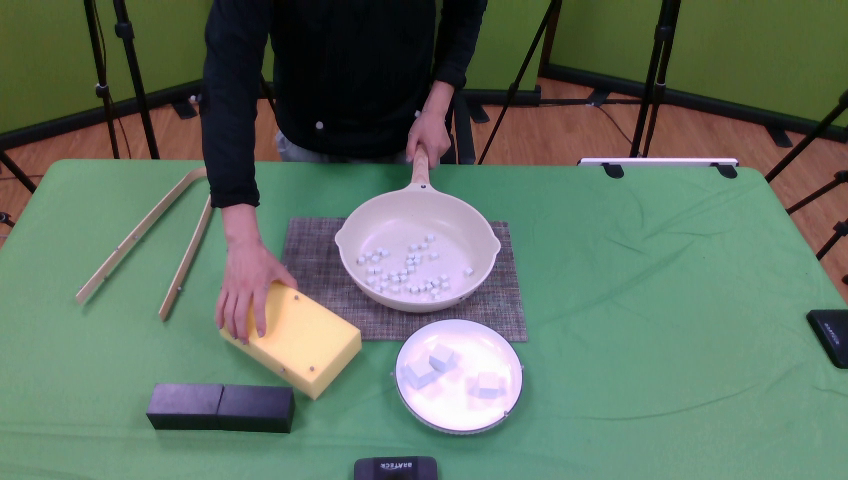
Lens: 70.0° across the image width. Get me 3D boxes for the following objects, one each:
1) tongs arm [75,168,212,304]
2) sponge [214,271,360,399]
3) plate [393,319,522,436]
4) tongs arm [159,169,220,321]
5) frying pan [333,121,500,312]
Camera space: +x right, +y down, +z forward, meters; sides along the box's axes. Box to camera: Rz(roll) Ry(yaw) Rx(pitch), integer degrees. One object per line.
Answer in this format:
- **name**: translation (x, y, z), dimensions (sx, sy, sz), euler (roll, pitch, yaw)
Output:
- **tongs arm**: translation (-0.526, -0.021, 1.167), dimensions (0.051, 0.026, 0.383), euler (13, 45, 7)
- **sponge**: translation (-0.223, 0.152, 0.996), dimensions (0.206, 0.061, 0.118), euler (29, 55, 18)
- **plate**: translation (0.053, 0.222, 0.979), dimensions (0.208, 0.039, 0.206), euler (2, 46, -2)
- **tongs arm**: translation (-0.446, -0.005, 1.164), dimensions (0.028, 0.028, 0.385), euler (1, 46, 0)
- **frying pan**: translation (-0.011, -0.063, 1.195), dimensions (0.307, 0.103, 0.485), euler (4, 55, -2)
